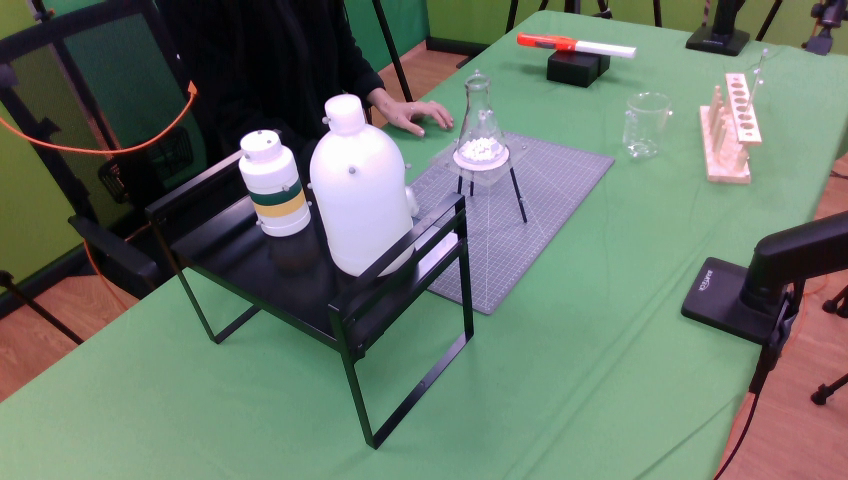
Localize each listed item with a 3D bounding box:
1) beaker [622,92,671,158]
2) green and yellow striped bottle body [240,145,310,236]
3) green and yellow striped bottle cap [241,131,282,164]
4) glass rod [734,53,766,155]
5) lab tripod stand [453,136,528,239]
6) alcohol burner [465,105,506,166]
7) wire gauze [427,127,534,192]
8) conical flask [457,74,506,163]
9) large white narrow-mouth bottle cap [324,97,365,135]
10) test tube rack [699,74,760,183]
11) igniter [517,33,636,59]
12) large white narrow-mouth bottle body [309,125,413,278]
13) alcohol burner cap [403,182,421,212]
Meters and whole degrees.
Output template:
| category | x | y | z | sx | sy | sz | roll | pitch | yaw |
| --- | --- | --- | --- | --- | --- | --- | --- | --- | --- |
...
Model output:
| category | x | y | z | sx | sy | sz | roll | pitch | yaw |
| --- | --- | --- | --- | --- | --- | --- | --- | --- | --- |
| beaker | 0.402 | -0.210 | 1.106 | 0.074 | 0.101 | 0.083 | -9 | 40 | -2 |
| green and yellow striped bottle body | -0.181 | -0.068 | 0.729 | 0.063 | 0.120 | 0.063 | -4 | 40 | 4 |
| green and yellow striped bottle cap | -0.187 | -0.107 | 0.695 | 0.045 | 0.020 | 0.045 | -3 | 39 | 3 |
| glass rod | 0.540 | -0.220 | 1.007 | 0.008 | 0.201 | 0.008 | -5 | 46 | 6 |
| lab tripod stand | 0.095 | -0.086 | 0.974 | 0.148 | 0.132 | 0.147 | -4 | 43 | 4 |
| alcohol burner | 0.113 | -0.199 | 1.119 | 0.078 | 0.119 | 0.077 | -4 | 43 | 4 |
| wire gauze | 0.086 | -0.130 | 0.925 | 0.124 | 0.011 | 0.122 | 28 | 54 | 31 |
| conical flask | 0.082 | -0.181 | 0.893 | 0.075 | 0.122 | 0.075 | -4 | 41 | 4 |
| large white narrow-mouth bottle cap | -0.076 | -0.120 | 0.585 | 0.038 | 0.024 | 0.037 | -3 | 42 | 3 |
| test tube rack | 0.547 | -0.208 | 1.095 | 0.066 | 0.085 | 0.242 | 6 | 42 | 16 |
| igniter | 0.336 | -0.441 | 1.369 | 0.275 | 0.025 | 0.057 | 16 | 41 | 23 |
| large white narrow-mouth bottle body | -0.068 | -0.057 | 0.644 | 0.102 | 0.195 | 0.101 | -3 | 42 | 3 |
| alcohol burner cap | -0.026 | -0.072 | 0.985 | 0.034 | 0.048 | 0.033 | -10 | 41 | 9 |
